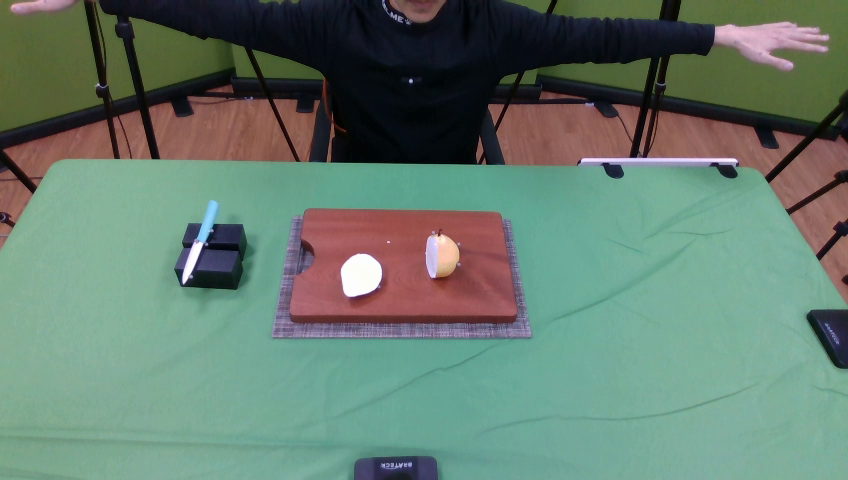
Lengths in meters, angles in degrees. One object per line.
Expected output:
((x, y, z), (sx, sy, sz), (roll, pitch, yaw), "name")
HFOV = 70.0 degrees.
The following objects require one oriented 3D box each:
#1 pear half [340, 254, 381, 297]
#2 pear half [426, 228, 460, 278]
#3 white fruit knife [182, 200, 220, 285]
((-0.116, 0.068, 1.074), (0.070, 0.031, 0.088), (31, 64, 4), "pear half")
((0.037, 0.016, 1.082), (0.056, 0.110, 0.076), (-13, 52, -15), "pear half")
((-0.406, 0.001, 1.103), (0.027, 0.016, 0.206), (-12, 47, 16), "white fruit knife")
